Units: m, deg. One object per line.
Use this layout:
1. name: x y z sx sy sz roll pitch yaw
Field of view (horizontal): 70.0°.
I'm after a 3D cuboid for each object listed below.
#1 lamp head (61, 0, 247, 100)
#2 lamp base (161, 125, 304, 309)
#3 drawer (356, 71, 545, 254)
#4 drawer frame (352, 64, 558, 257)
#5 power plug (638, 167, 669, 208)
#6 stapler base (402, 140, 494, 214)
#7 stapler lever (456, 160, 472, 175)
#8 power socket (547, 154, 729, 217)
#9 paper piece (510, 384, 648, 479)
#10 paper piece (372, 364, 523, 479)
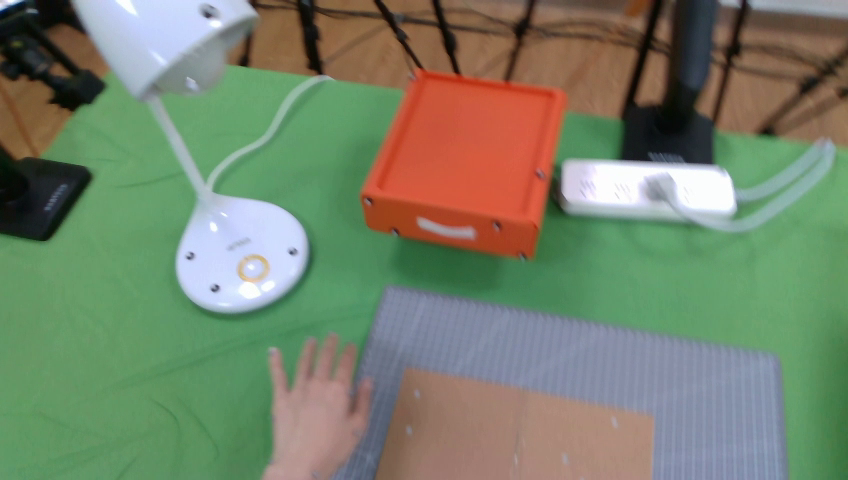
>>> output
1. lamp head: -0.211 -0.181 0.442 0.123 0.112 0.112 49 66 -13
2. lamp base: -0.243 -0.035 0.695 0.160 0.182 0.177 -39 60 -20
3. drawer: 0.045 -0.100 0.728 0.194 0.074 0.210 10 58 10
4. drawer frame: 0.044 -0.102 0.729 0.201 0.083 0.212 10 57 10
5. power plug: 0.279 -0.058 0.743 0.035 0.053 0.072 14 59 11
6. stapler base: 0.026 -0.082 0.738 0.129 0.024 0.041 38 83 27
7. stapler lever: 0.017 -0.092 0.715 0.117 0.040 0.027 38 83 28
8. power socket: 0.274 -0.071 0.778 0.226 0.033 0.071 4 58 6
9. paper piece: 0.156 0.221 0.607 0.135 0.004 0.134 10 58 10
10. paper piece: 0.026 0.202 0.628 0.135 0.009 0.137 8 59 12
